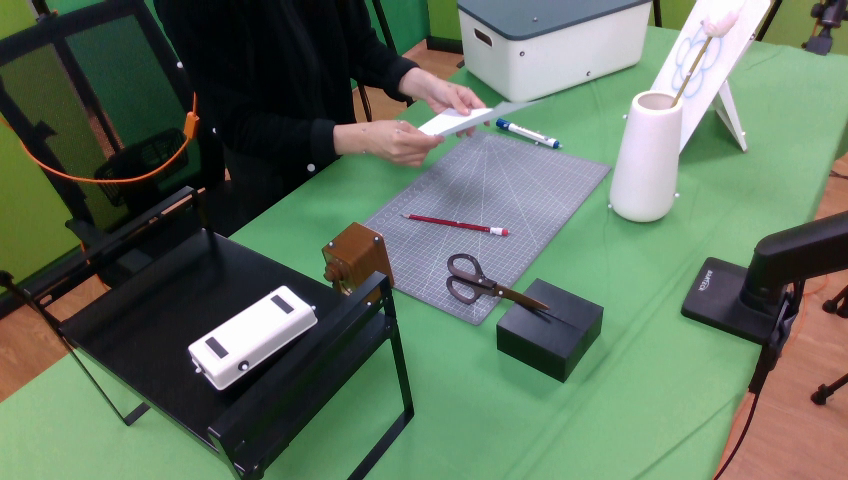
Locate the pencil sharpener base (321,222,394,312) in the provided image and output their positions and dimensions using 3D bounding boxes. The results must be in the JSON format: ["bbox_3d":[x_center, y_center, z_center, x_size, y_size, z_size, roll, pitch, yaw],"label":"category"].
[{"bbox_3d":[-0.096,0.041,0.873,0.061,0.107,0.077,25,54,32],"label":"pencil sharpener base"}]

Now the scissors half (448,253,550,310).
[{"bbox_3d":[0.098,0.058,0.821,0.173,0.040,0.013,27,33,37],"label":"scissors half"}]

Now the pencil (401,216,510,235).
[{"bbox_3d":[0.049,-0.026,1.008,0.193,0.012,0.012,9,43,22],"label":"pencil"}]

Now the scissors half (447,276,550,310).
[{"bbox_3d":[0.098,0.077,0.827,0.174,0.040,0.013,6,14,44],"label":"scissors half"}]

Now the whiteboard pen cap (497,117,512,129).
[{"bbox_3d":[0.165,-0.235,1.226,0.033,0.018,0.018,32,53,31],"label":"whiteboard pen cap"}]

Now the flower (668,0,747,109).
[{"bbox_3d":[0.354,-0.187,0.879,0.038,0.362,0.044,30,48,14],"label":"flower"}]

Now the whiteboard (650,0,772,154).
[{"bbox_3d":[0.543,-0.298,1.076,0.144,0.305,0.216,12,40,-7],"label":"whiteboard"}]

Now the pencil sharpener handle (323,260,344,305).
[{"bbox_3d":[-0.131,0.062,0.839,0.035,0.068,0.031,29,56,27],"label":"pencil sharpener handle"}]

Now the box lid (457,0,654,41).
[{"bbox_3d":[0.285,-0.522,1.323,0.373,0.015,0.261,-22,43,-16],"label":"box lid"}]

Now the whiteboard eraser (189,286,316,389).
[{"bbox_3d":[-0.166,0.096,0.593,0.113,0.042,0.055,-36,47,-29],"label":"whiteboard eraser"}]

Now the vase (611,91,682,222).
[{"bbox_3d":[0.348,-0.125,0.935,0.098,0.201,0.097,-3,40,3],"label":"vase"}]

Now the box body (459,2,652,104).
[{"bbox_3d":[0.291,-0.465,1.371,0.365,0.161,0.252,-22,42,-16],"label":"box body"}]

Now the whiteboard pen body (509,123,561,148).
[{"bbox_3d":[0.208,-0.212,1.195,0.139,0.017,0.017,30,52,33],"label":"whiteboard pen body"}]
